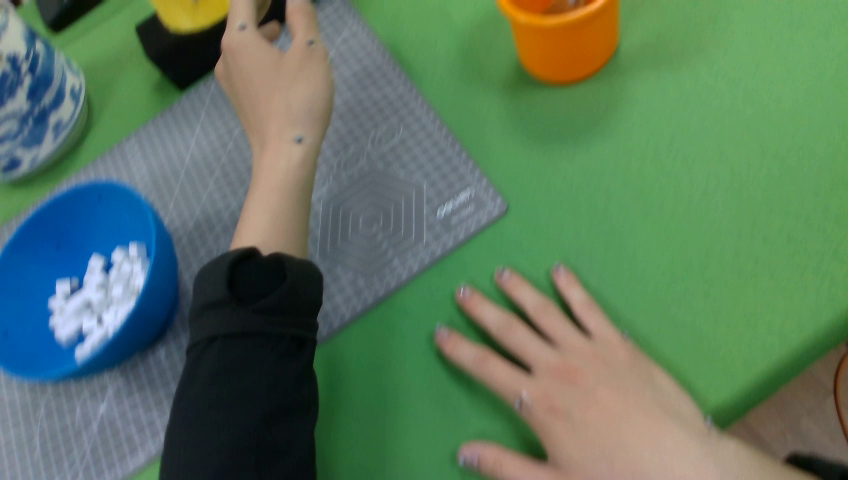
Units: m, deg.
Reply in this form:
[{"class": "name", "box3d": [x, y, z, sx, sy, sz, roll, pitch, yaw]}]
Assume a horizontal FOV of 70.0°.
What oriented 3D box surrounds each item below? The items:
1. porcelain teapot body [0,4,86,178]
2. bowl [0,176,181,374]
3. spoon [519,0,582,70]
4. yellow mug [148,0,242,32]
[{"class": "porcelain teapot body", "box3d": [-0.455, -0.147, 0.532, 0.205, 0.227, 0.144, -29, 62, 4]}, {"class": "bowl", "box3d": [-0.244, 0.035, 0.462, 0.151, 0.077, 0.150, -7, 64, 15]}, {"class": "spoon", "box3d": [0.121, -0.205, 0.417, 0.022, 0.194, 0.041, -14, 54, -40]}, {"class": "yellow mug", "box3d": [-0.197, -0.242, 0.525, 0.130, 0.064, 0.099, 9, 70, 21]}]
